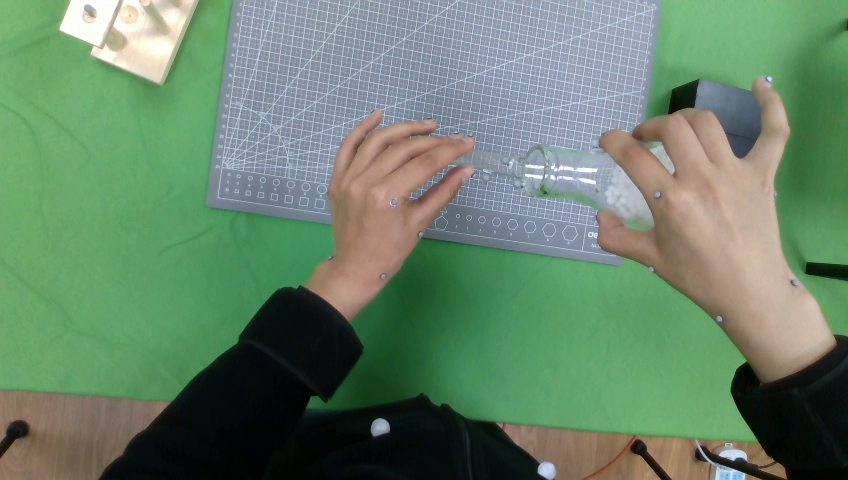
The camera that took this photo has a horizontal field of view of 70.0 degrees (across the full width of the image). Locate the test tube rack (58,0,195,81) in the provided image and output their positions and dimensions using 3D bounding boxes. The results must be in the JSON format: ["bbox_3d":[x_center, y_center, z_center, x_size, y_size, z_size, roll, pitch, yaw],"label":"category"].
[{"bbox_3d":[-0.231,-0.275,0.540,0.067,0.085,0.242,22,89,-11],"label":"test tube rack"}]

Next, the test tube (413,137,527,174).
[{"bbox_3d":[0.031,-0.070,0.490,0.017,0.149,0.017,-9,107,-29],"label":"test tube"}]

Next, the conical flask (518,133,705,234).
[{"bbox_3d":[0.130,-0.046,0.433,0.122,0.075,0.075,5,92,-19],"label":"conical flask"}]
